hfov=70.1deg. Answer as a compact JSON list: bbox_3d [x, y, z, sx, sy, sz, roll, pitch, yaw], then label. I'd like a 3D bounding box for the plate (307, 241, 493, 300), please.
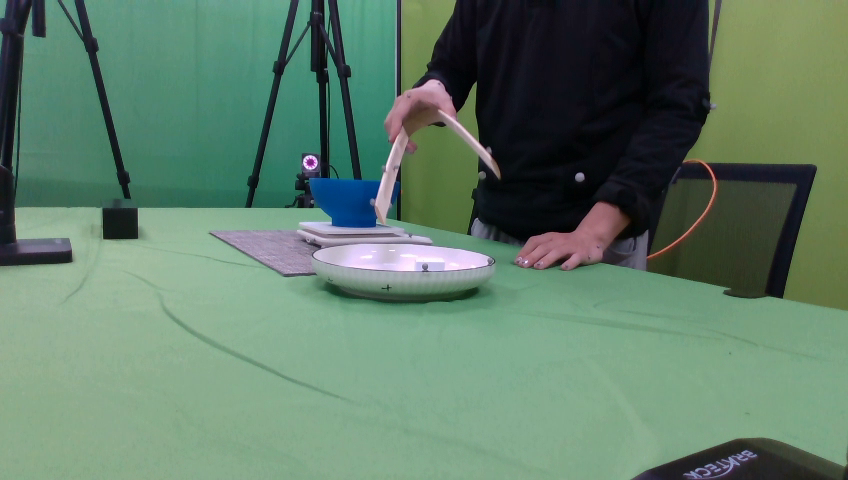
[{"bbox_3d":[-0.027,0.034,0.684,0.208,0.039,0.207,2,7,0],"label":"plate"}]

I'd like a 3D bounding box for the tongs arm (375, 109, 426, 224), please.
[{"bbox_3d":[-0.025,-0.115,0.823,0.050,0.026,0.384,-22,23,11],"label":"tongs arm"}]

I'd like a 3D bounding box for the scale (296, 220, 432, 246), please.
[{"bbox_3d":[-0.101,-0.012,1.017,0.202,0.031,0.148,-1,8,-30],"label":"scale"}]

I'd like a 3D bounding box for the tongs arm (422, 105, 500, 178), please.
[{"bbox_3d":[0.043,-0.142,0.815,0.028,0.028,0.386,-29,23,2],"label":"tongs arm"}]

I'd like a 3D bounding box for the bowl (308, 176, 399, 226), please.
[{"bbox_3d":[-0.116,-0.064,1.001,0.151,0.077,0.151,2,6,0],"label":"bowl"}]
